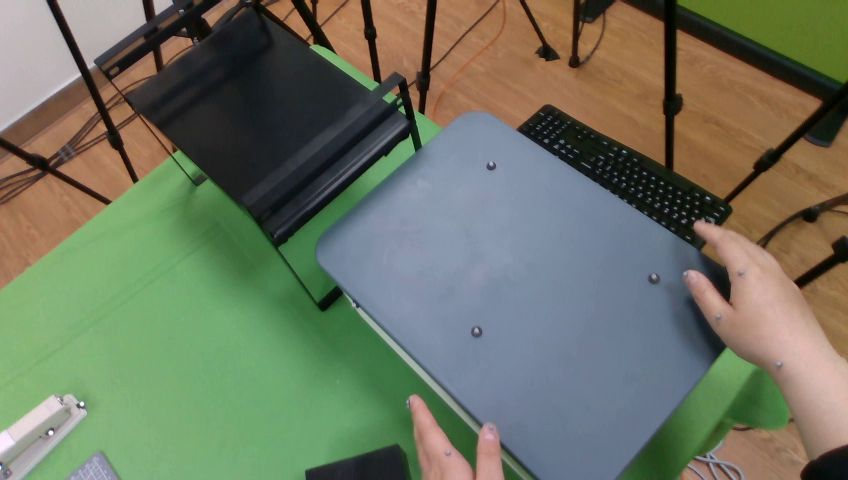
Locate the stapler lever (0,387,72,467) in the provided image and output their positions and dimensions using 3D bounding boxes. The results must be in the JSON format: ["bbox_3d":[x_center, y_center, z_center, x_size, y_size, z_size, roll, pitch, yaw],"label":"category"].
[{"bbox_3d":[-0.475,0.223,0.711,0.026,0.040,0.118,35,71,22],"label":"stapler lever"}]

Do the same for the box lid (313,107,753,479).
[{"bbox_3d":[0.089,0.027,0.592,0.263,0.015,0.368,-42,63,-15],"label":"box lid"}]

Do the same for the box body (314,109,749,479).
[{"bbox_3d":[0.100,0.065,0.655,0.254,0.162,0.361,-43,64,-14],"label":"box body"}]

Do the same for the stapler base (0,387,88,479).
[{"bbox_3d":[-0.473,0.236,0.731,0.041,0.024,0.130,35,69,21],"label":"stapler base"}]
